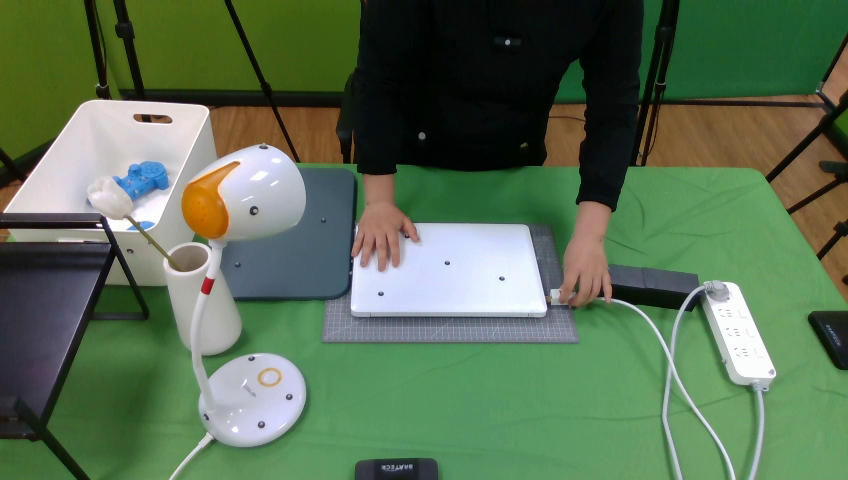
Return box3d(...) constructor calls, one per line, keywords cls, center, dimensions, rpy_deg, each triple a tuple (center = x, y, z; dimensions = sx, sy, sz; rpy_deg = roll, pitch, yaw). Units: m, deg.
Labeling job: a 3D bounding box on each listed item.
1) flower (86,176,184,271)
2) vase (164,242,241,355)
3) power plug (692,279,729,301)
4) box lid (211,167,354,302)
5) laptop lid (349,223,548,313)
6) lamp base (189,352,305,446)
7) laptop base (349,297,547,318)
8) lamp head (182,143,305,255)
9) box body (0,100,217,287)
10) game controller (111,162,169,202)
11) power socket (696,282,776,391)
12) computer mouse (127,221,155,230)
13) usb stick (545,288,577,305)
box3d(cls="flower", center=(-0.365, 0.038, 0.894), dimensions=(0.038, 0.364, 0.044), rpy_deg=(-4, 53, 15))
box3d(cls="vase", center=(-0.349, 0.096, 0.953), dimensions=(0.098, 0.201, 0.097), rpy_deg=(3, 47, -3))
box3d(cls="power plug", center=(0.522, 0.091, 1.115), dimensions=(0.072, 0.053, 0.035), rpy_deg=(11, 48, 9))
box3d(cls="box lid", center=(-0.277, -0.023, 1.205), dimensions=(0.263, 0.015, 0.369), rpy_deg=(0, 46, -4))
box3d(cls="laptop lid", center=(0.041, 0.047, 1.143), dimensions=(0.357, 0.013, 0.240), rpy_deg=(2, 43, -3))
box3d(cls="lamp base", center=(-0.268, 0.197, 0.876), dimensions=(0.160, 0.181, 0.179), rpy_deg=(26, 52, 20))
box3d(cls="laptop base", center=(0.041, 0.056, 1.149), dimensions=(0.354, 0.023, 0.234), rpy_deg=(0, 42, -4))
box3d(cls="lamp head", center=(-0.216, -0.044, 0.697), dimensions=(0.112, 0.113, 0.123), rpy_deg=(23, 31, 17))
box3d(cls="box body", center=(-0.559, -0.092, 1.144), dimensions=(0.254, 0.161, 0.361), rpy_deg=(3, 46, -2))
box3d(cls="game controller", center=(-0.597, -0.113, 1.234), dimensions=(0.097, 0.052, 0.155), rpy_deg=(29, 52, 19))
box3d(cls="power socket", center=(0.550, 0.161, 1.078), dimensions=(0.072, 0.033, 0.225), rpy_deg=(2, 46, -1))
box3d(cls="computer mouse", center=(-0.537, 0.010, 1.127), dimensions=(0.062, 0.041, 0.117), rpy_deg=(31, 54, 20))
box3d(cls="usb stick", center=(0.245, 0.104, 1.103), dimensions=(0.059, 0.027, 0.021), rpy_deg=(-6, 55, 1))
